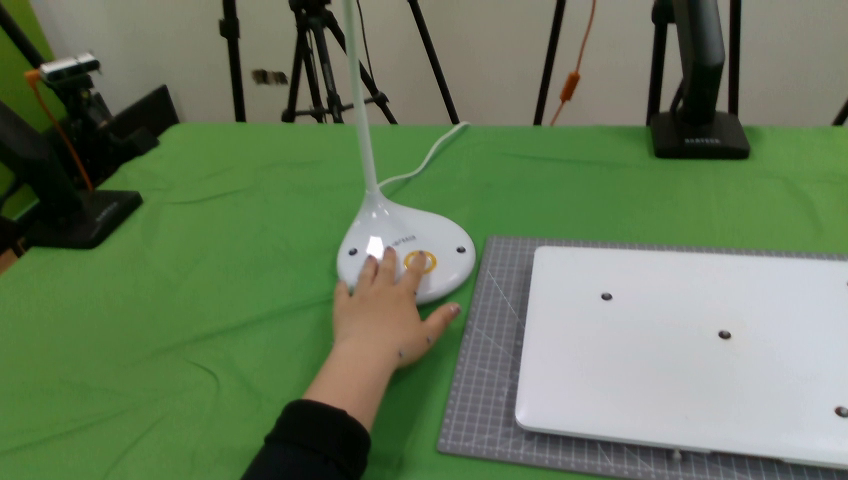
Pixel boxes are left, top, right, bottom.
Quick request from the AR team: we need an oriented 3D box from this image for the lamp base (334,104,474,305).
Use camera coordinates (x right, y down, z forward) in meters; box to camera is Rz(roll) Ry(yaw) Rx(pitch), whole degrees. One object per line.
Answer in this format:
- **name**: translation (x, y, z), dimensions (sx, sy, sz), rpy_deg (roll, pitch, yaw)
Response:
- **lamp base**: translation (-0.038, -0.048, 0.657), dimensions (0.161, 0.182, 0.177), rpy_deg (-28, 39, -26)

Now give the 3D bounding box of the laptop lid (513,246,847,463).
- **laptop lid**: translation (0.266, 0.086, 0.541), dimensions (0.355, 0.013, 0.240), rpy_deg (4, 40, 14)

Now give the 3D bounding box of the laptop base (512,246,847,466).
- **laptop base**: translation (0.268, 0.094, 0.550), dimensions (0.353, 0.023, 0.233), rpy_deg (3, 41, 13)
